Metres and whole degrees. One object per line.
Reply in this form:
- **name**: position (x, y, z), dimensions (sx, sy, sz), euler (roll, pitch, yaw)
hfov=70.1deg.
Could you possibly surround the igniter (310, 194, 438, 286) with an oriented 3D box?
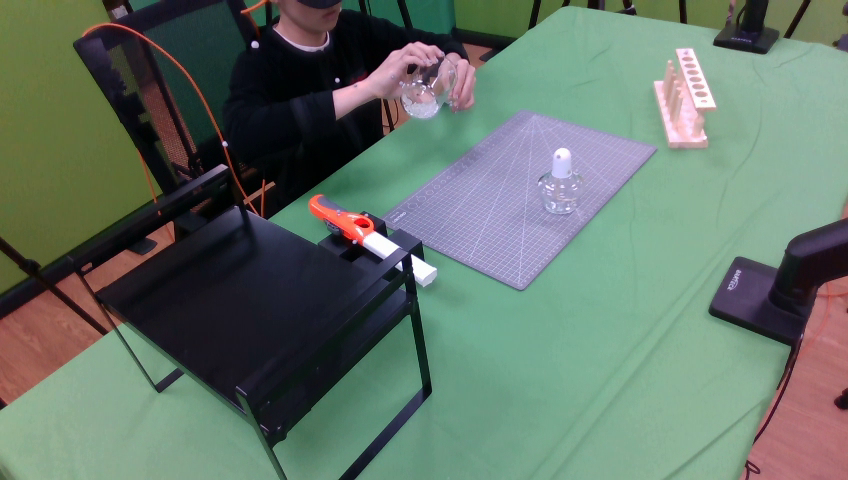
- **igniter**: position (-0.087, -0.007, 0.921), dimensions (0.274, 0.025, 0.057), euler (31, 50, 34)

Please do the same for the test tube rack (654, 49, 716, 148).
- **test tube rack**: position (0.502, -0.281, 1.176), dimensions (0.066, 0.085, 0.241), euler (2, 41, 11)

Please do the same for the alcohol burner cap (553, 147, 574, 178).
- **alcohol burner cap**: position (0.224, -0.125, 0.965), dimensions (0.034, 0.048, 0.033), euler (-5, 44, 5)

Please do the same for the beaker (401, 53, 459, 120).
- **beaker**: position (0.009, -0.251, 1.007), dimensions (0.073, 0.084, 0.100), euler (3, 43, 24)

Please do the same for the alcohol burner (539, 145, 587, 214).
- **alcohol burner**: position (0.226, -0.102, 0.986), dimensions (0.078, 0.119, 0.077), euler (-6, 41, 6)

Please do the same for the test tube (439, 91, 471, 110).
- **test tube**: position (0.060, -0.259, 1.131), dimensions (0.017, 0.017, 0.151), euler (11, 8, 21)
